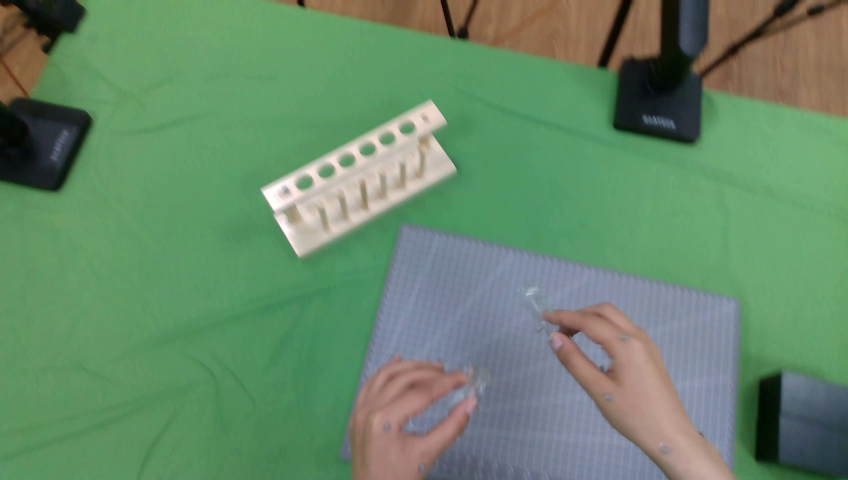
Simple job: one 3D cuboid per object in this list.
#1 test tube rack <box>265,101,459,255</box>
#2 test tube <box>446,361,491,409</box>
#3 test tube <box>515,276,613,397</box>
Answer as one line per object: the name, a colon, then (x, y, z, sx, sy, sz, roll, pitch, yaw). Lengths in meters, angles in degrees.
test tube rack: (-0.071, -0.079, 0.776, 0.242, 0.086, 0.066, -29, 72, -13)
test tube: (0.037, 0.131, 0.536, 0.017, 0.151, 0.017, 3, 65, -6)
test tube: (0.126, 0.088, 0.532, 0.017, 0.017, 0.151, -46, 112, -17)
